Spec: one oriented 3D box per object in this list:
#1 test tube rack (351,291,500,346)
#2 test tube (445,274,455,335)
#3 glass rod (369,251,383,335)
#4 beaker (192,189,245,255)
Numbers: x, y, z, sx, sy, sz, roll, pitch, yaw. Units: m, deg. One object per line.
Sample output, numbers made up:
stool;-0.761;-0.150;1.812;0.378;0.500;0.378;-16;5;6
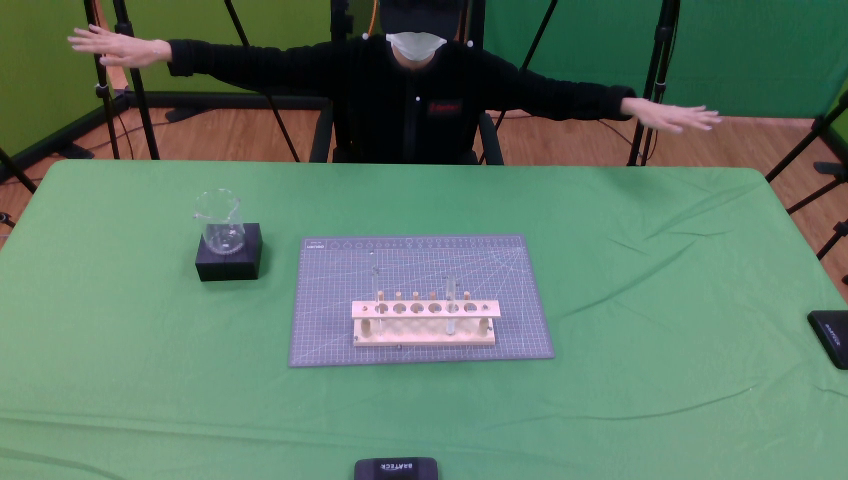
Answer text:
test tube rack;0.000;0.129;1.026;0.242;0.085;0.066;0;46;-4
test tube;0.042;0.108;0.981;0.017;0.151;0.017;-1;48;1
glass rod;-0.075;0.090;0.965;0.008;0.201;0.008;-1;44;1
beaker;-0.359;-0.028;1.073;0.074;0.101;0.083;-25;53;-25
